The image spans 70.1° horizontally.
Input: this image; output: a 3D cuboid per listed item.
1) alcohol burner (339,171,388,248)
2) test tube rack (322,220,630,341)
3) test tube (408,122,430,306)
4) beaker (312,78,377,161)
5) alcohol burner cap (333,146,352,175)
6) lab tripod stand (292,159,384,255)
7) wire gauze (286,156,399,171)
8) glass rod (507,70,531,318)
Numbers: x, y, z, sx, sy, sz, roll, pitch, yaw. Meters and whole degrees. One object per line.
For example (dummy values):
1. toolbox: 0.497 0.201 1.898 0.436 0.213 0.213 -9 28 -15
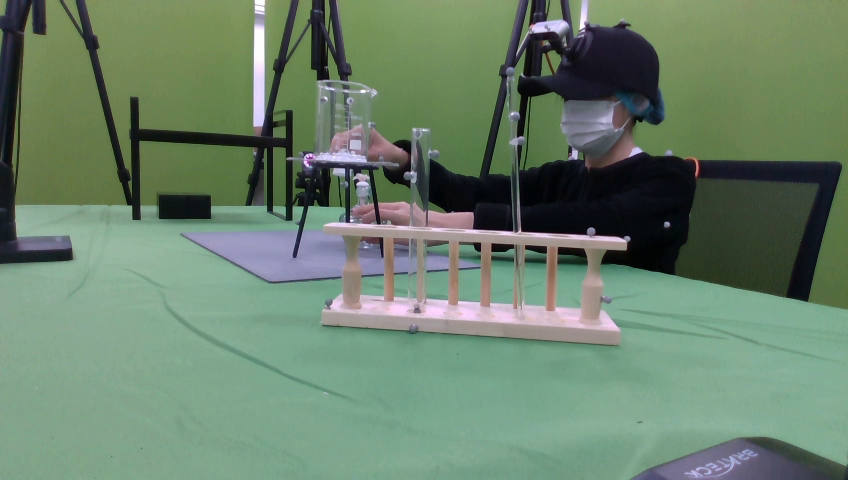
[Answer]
1. alcohol burner: -0.095 -0.048 0.953 0.078 0.119 0.078 0 7 0
2. test tube rack: 0.041 0.029 0.512 0.242 0.085 0.067 3 7 5
3. test tube: -0.004 -0.019 0.489 0.017 0.150 0.017 1 11 0
4. beaker: -0.103 -0.151 0.776 0.084 0.100 0.074 5 7 14
5. alcohol burner cap: -0.133 -0.132 1.003 0.034 0.048 0.034 5 -4 1
6. lab tripod stand: -0.105 -0.039 0.797 0.148 0.131 0.148 2 5 0
7. wire gauze: -0.101 -0.103 0.788 0.121 0.011 0.125 5 4 6
8. glass rod: 0.076 -0.031 0.476 0.008 0.199 0.008 -6 12 2
